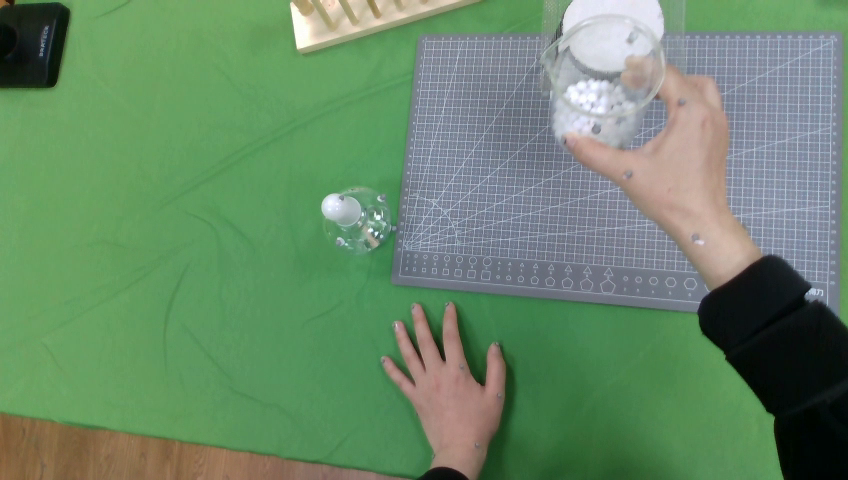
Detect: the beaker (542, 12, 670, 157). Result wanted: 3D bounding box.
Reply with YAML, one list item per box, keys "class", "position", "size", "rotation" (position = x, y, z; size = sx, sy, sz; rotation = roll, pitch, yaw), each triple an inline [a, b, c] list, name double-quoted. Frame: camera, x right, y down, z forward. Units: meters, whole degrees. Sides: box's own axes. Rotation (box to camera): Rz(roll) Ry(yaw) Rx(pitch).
- class: "beaker"
  position: [0.128, -0.109, 0.450]
  size: [0.083, 0.101, 0.074]
  rotation: [15, 82, 13]

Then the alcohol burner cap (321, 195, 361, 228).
- class: "alcohol burner cap"
  position: [-0.087, -0.031, 0.615]
  size: [0.034, 0.048, 0.034]
  rotation: [-1, 83, 13]

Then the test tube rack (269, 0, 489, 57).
- class: "test tube rack"
  position: [-0.053, -0.293, 0.702]
  size: [0.242, 0.085, 0.066]
  rotation: [-13, 78, 10]

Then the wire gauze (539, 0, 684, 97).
- class: "wire gauze"
  position: [0.166, -0.186, 0.535]
  size: [0.125, 0.011, 0.121]
  rotation: [4, 83, 14]

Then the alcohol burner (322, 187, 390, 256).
- class: "alcohol burner"
  position: [-0.078, -0.024, 0.650]
  size: [0.078, 0.120, 0.077]
  rotation: [-2, 78, 12]

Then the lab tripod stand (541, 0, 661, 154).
- class: "lab tripod stand"
  position: [0.181, -0.174, 0.601]
  size: [0.148, 0.132, 0.148]
  rotation: [-2, 81, 11]
